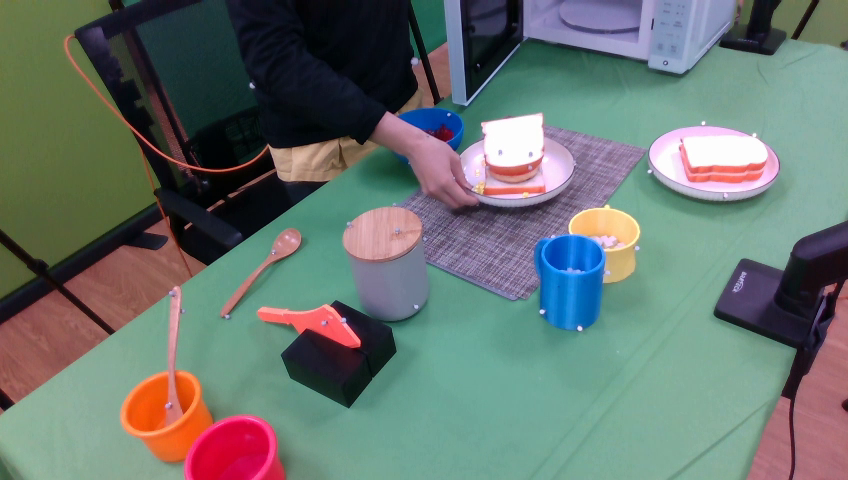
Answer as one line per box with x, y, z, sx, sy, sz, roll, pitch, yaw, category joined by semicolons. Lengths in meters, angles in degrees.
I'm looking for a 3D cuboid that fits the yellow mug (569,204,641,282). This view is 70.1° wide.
0.268;-0.005;0.904;0.099;0.064;0.130;7;41;15;yellow mug

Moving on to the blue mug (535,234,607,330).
0.190;0.048;0.824;0.082;0.106;0.115;-26;44;-21;blue mug

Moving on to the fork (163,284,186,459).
-0.302;0.157;0.733;0.028;0.019;0.207;-3;84;15;fork

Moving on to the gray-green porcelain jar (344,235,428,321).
-0.049;0.042;0.849;0.106;0.127;0.105;-4;41;4;gray-green porcelain jar

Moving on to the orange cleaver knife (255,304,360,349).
-0.161;0.115;0.813;0.210;0.077;0.012;-4;32;47;orange cleaver knife

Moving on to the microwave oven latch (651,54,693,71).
0.531;-0.386;1.301;0.078;0.029;0.030;26;51;33;microwave oven latch

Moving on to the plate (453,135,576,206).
0.156;-0.119;1.046;0.209;0.038;0.208;-4;40;4;plate

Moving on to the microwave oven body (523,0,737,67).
0.475;-0.601;1.411;0.438;0.261;0.327;23;50;32;microwave oven body

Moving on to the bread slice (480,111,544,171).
0.151;-0.165;1.009;0.107;0.018;0.133;-9;46;8;bread slice

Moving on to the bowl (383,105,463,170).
0.002;-0.185;1.142;0.151;0.077;0.150;-4;40;4;bowl

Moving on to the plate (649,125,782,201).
0.493;-0.128;1.036;0.207;0.039;0.206;-4;41;4;plate

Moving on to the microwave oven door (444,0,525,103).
0.142;-0.494;1.327;0.039;0.245;0.356;15;45;24;microwave oven door

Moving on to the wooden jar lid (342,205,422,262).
-0.055;-0.005;0.808;0.108;0.021;0.108;-6;41;6;wooden jar lid

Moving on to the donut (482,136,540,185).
0.148;-0.137;1.025;0.099;0.048;0.098;-9;59;15;donut

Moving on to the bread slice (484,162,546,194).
0.155;-0.126;1.058;0.105;0.019;0.131;-2;43;5;bread slice

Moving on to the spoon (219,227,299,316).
-0.261;0.046;0.954;0.041;0.021;0.194;27;48;10;spoon
